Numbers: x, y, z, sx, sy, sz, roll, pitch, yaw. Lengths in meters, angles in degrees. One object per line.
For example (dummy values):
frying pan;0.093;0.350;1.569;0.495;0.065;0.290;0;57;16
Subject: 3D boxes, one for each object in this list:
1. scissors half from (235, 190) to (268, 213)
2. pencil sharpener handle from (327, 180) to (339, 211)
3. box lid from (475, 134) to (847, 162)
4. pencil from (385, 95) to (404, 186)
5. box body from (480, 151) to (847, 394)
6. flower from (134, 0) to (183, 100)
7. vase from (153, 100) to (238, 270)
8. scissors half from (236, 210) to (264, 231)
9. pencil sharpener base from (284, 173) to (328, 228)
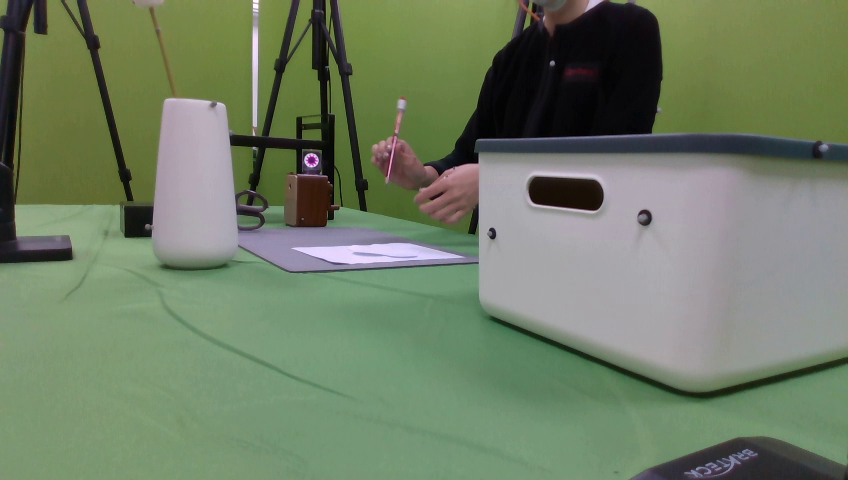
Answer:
scissors half;-0.363;-0.070;1.060;0.176;0.040;0.013;0;16;-23
pencil sharpener handle;-0.194;-0.094;1.256;0.031;0.067;0.036;-2;-5;-36
box lid;0.256;-0.073;0.528;0.373;0.015;0.262;-2;8;-31
pencil;-0.054;-0.178;1.077;0.012;0.193;0.012;7;-25;3
box body;0.254;0.002;0.539;0.366;0.160;0.253;-2;8;-31
flower;-0.282;-0.147;0.713;0.038;0.362;0.044;-23;24;-31
vase;-0.278;-0.066;0.736;0.098;0.200;0.098;2;9;0
scissors half;-0.369;-0.051;1.064;0.176;0.040;0.012;19;13;-27
pencil sharpener base;-0.239;-0.081;1.231;0.077;0.107;0.061;-2;8;-36
